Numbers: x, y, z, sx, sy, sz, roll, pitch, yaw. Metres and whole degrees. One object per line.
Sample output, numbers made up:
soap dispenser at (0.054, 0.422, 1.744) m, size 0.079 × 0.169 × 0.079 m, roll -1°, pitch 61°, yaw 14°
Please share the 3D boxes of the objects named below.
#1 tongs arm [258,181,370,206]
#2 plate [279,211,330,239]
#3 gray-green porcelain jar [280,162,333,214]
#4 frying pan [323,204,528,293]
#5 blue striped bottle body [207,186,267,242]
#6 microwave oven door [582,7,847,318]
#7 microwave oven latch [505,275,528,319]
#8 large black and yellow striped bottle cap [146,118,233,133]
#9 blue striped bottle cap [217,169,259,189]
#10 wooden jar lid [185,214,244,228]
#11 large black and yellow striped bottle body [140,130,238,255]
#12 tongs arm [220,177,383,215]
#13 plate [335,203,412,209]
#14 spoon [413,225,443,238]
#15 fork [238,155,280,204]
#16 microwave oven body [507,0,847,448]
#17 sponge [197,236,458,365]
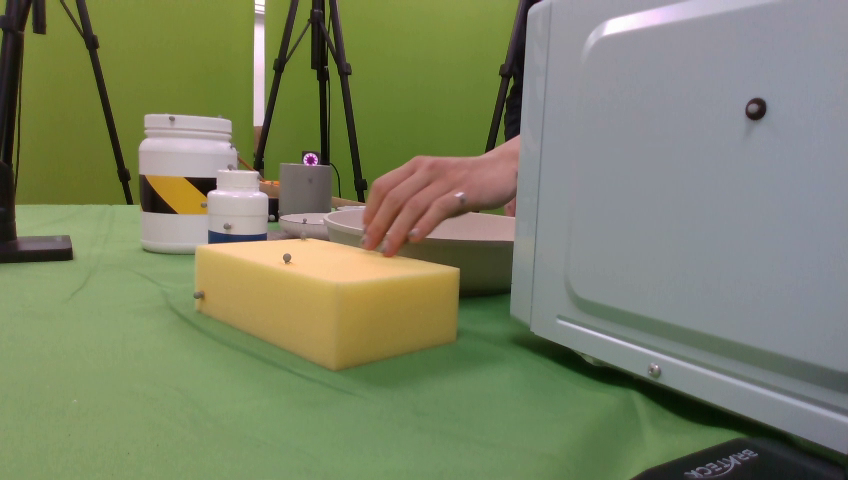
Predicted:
tongs arm at (-0.241, -0.095, 1.373) m, size 0.387 × 0.026 × 0.050 m, roll 9°, pitch -1°, yaw -37°
plate at (-0.139, -0.022, 1.021) m, size 0.209 × 0.038 × 0.209 m, roll 2°, pitch 8°, yaw 0°
gray-green porcelain jar at (-0.238, -0.092, 1.221) m, size 0.106 × 0.126 × 0.106 m, roll 2°, pitch 7°, yaw 0°
frying pan at (0.110, -0.017, 0.800) m, size 0.490 × 0.102 × 0.305 m, roll -13°, pitch 17°, yaw -31°
blue striped bottle body at (-0.204, -0.016, 0.663) m, size 0.063 × 0.120 × 0.063 m, roll 2°, pitch 7°, yaw 0°
microwave oven door at (0.295, -0.067, 0.569) m, size 0.358 × 0.243 × 0.039 m, roll -3°, pitch 8°, yaw -31°
microwave oven latch at (0.100, 0.042, 0.471) m, size 0.079 × 0.029 × 0.030 m, roll -2°, pitch 8°, yaw -29°
large black and yellow striped bottle cap at (-0.333, -0.163, 0.861) m, size 0.115 × 0.019 × 0.115 m, roll 1°, pitch 9°, yaw 0°
blue striped bottle cap at (-0.202, -0.067, 0.657) m, size 0.044 × 0.020 × 0.044 m, roll 0°, pitch 10°, yaw 0°
wooden jar lid at (-0.404, -0.037, 1.169) m, size 0.108 × 0.020 × 0.108 m, roll 3°, pitch 7°, yaw 0°
large black and yellow striped bottle body at (-0.336, -0.078, 0.871) m, size 0.131 × 0.184 × 0.130 m, roll 2°, pitch 8°, yaw 0°
tongs arm at (-0.285, -0.103, 1.445) m, size 0.389 × 0.027 × 0.028 m, roll 9°, pitch -4°, yaw -23°
plate at (-0.089, -0.053, 1.309) m, size 0.208 × 0.039 × 0.207 m, roll 2°, pitch 8°, yaw 0°
spoon at (0.016, -0.020, 1.113) m, size 0.041 × 0.021 × 0.194 m, roll -14°, pitch 3°, yaw 12°
fork at (-0.396, -0.143, 1.487) m, size 0.028 × 0.018 × 0.208 m, roll 20°, pitch -26°, yaw 45°
microwave oven body at (0.331, -0.042, 0.425) m, size 0.444 × 0.260 × 0.324 m, roll -2°, pitch 8°, yaw -31°
sponge at (-0.087, 0.039, 0.500) m, size 0.206 × 0.061 × 0.119 m, roll 8°, pitch 10°, yaw 44°
